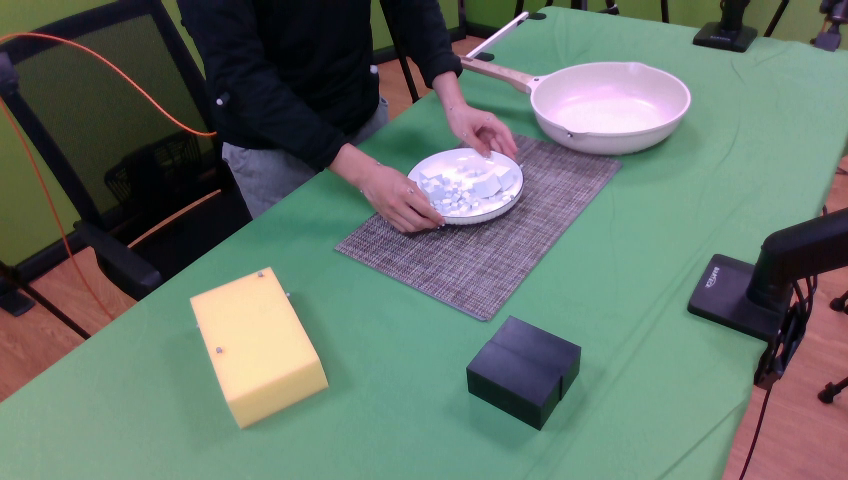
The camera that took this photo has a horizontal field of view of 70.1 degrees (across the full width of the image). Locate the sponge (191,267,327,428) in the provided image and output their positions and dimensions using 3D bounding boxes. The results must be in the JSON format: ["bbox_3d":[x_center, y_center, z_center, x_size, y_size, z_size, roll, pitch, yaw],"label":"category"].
[{"bbox_3d":[-0.226,0.135,0.814,0.119,0.061,0.205,-23,43,-19],"label":"sponge"}]

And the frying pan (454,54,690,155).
[{"bbox_3d":[0.270,-0.298,1.211,0.485,0.103,0.307,27,49,23],"label":"frying pan"}]

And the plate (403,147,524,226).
[{"bbox_3d":[0.069,-0.089,1.044,0.207,0.039,0.206,-4,41,4],"label":"plate"}]
